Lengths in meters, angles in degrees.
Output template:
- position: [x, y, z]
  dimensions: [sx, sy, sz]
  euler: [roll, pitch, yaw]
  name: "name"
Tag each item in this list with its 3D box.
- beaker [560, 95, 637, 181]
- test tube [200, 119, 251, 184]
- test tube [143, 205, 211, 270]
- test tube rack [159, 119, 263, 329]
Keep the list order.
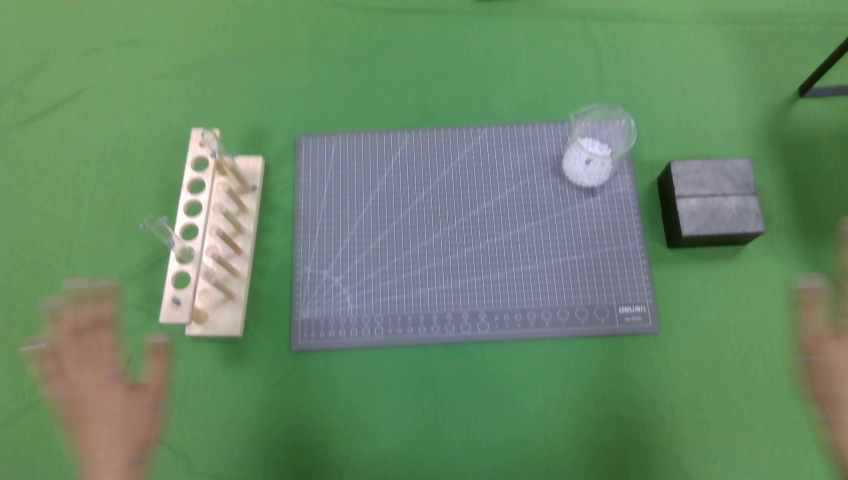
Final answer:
- position: [0.211, -0.124, 0.758]
  dimensions: [0.083, 0.101, 0.074]
  euler: [33, 75, 12]
  name: "beaker"
- position: [-0.234, -0.103, 0.720]
  dimensions: [0.017, 0.151, 0.017]
  euler: [0, 72, 1]
  name: "test tube"
- position: [-0.275, 0.001, 0.684]
  dimensions: [0.017, 0.151, 0.017]
  euler: [-1, 66, 3]
  name: "test tube"
- position: [-0.255, -0.019, 0.742]
  dimensions: [0.067, 0.085, 0.241]
  euler: [1, 73, 2]
  name: "test tube rack"
